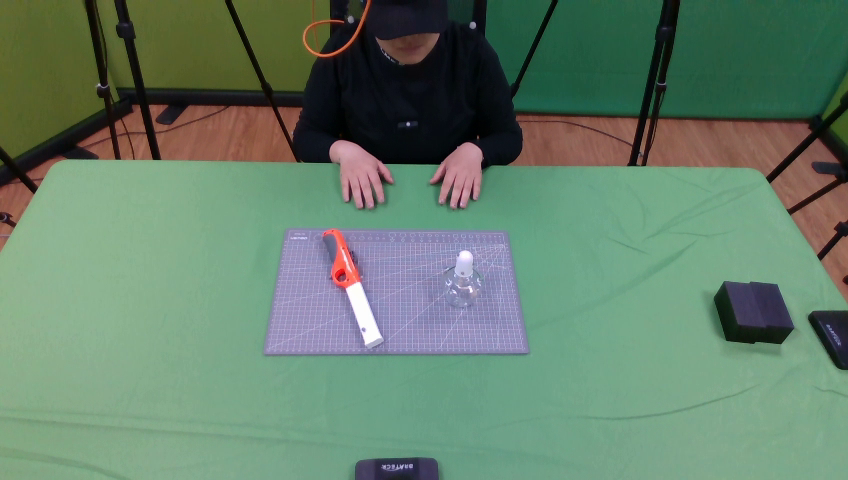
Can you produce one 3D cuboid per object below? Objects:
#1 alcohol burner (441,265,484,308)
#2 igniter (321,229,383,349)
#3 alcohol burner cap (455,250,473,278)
[{"bbox_3d":[0.069,0.064,1.075,0.078,0.120,0.077,1,45,-1],"label":"alcohol burner"},{"bbox_3d":[-0.134,0.078,1.102,0.057,0.025,0.274,-28,53,0],"label":"igniter"},{"bbox_3d":[0.070,0.040,1.048,0.034,0.048,0.033,1,43,-1],"label":"alcohol burner cap"}]
